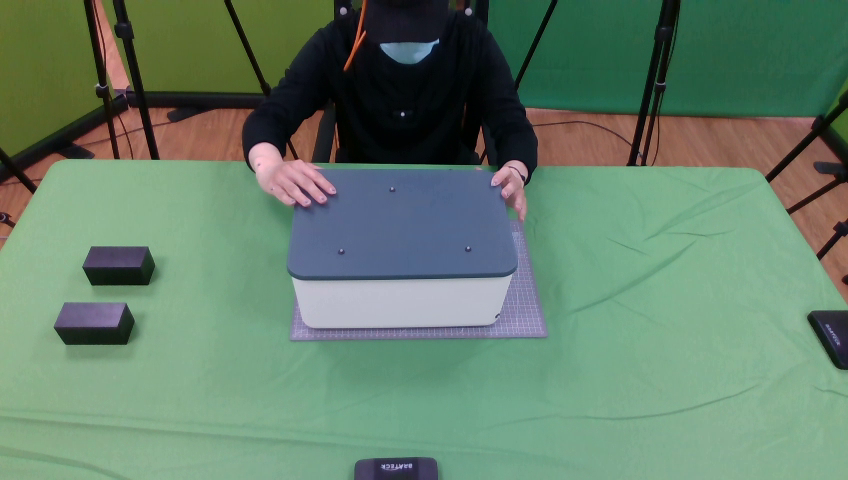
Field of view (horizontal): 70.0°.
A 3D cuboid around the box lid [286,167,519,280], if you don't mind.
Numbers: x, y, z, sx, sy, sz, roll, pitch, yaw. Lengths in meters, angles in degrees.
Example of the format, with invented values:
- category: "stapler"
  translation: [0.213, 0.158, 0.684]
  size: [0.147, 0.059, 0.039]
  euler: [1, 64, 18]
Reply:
- category: "box lid"
  translation: [-0.034, -0.036, 1.021]
  size: [0.372, 0.015, 0.261]
  euler: [-1, 46, -4]

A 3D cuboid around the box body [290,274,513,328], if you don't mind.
- category: "box body"
  translation: [-0.040, 0.015, 1.075]
  size: [0.364, 0.161, 0.252]
  euler: [-1, 47, -4]
